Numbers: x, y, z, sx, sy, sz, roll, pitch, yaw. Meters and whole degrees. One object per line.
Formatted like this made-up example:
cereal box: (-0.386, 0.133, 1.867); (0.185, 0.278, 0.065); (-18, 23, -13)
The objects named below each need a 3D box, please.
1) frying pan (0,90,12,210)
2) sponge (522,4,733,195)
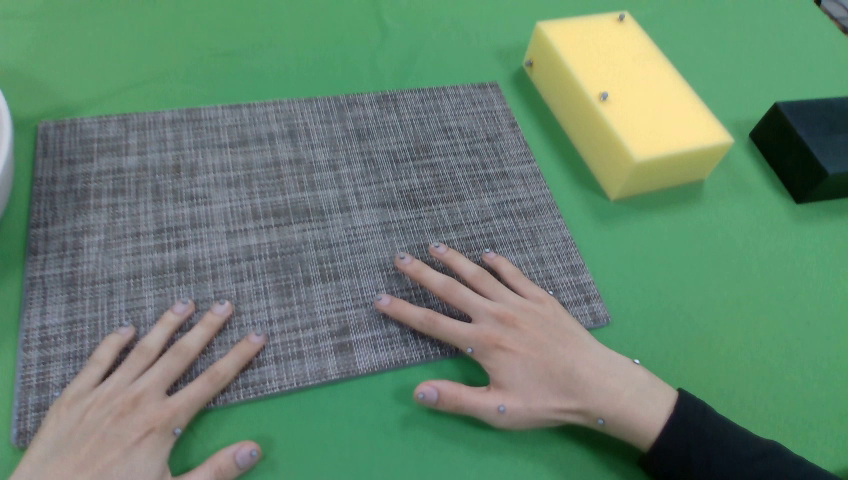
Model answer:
frying pan: (-0.478, 0.031, 0.373); (0.307, 0.103, 0.484); (15, 47, 1)
sponge: (0.204, -0.153, 0.634); (0.118, 0.061, 0.205); (-14, 61, -18)
